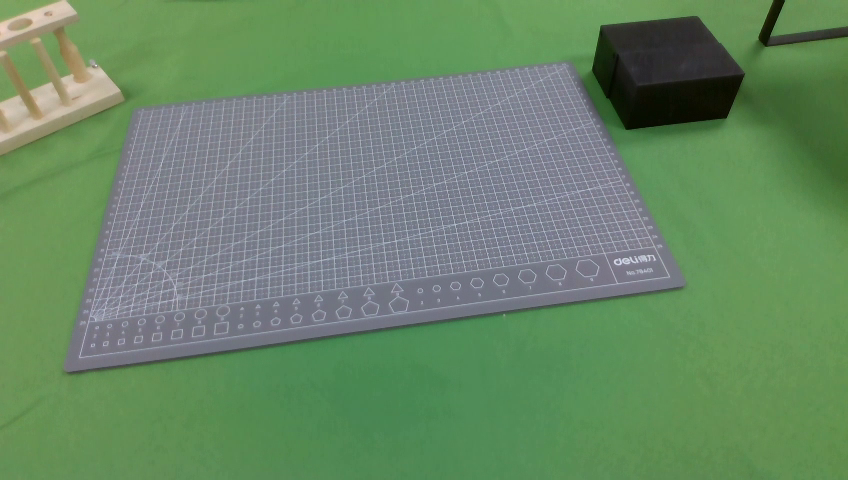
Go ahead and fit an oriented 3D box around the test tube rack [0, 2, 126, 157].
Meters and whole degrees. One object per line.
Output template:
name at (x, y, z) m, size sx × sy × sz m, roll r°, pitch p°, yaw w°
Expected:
test tube rack at (-0.420, -0.126, 0.557) m, size 0.242 × 0.086 × 0.066 m, roll -33°, pitch 56°, yaw -24°
